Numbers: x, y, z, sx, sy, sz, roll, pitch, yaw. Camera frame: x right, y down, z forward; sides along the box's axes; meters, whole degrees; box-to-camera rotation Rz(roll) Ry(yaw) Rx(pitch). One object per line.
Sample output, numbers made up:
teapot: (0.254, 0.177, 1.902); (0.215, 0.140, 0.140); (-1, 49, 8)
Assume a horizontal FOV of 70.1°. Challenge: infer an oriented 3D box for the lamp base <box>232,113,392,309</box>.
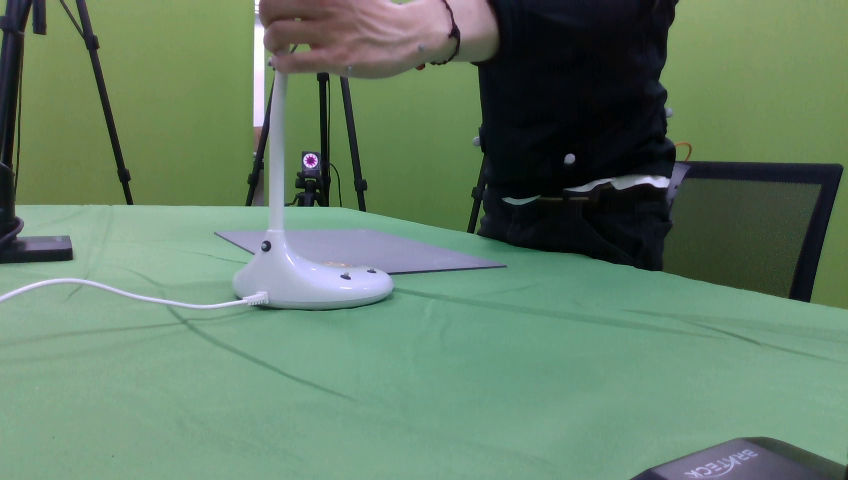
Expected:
lamp base: (-0.113, -0.032, 0.594); (0.160, 0.180, 0.179); (4, 10, 18)
